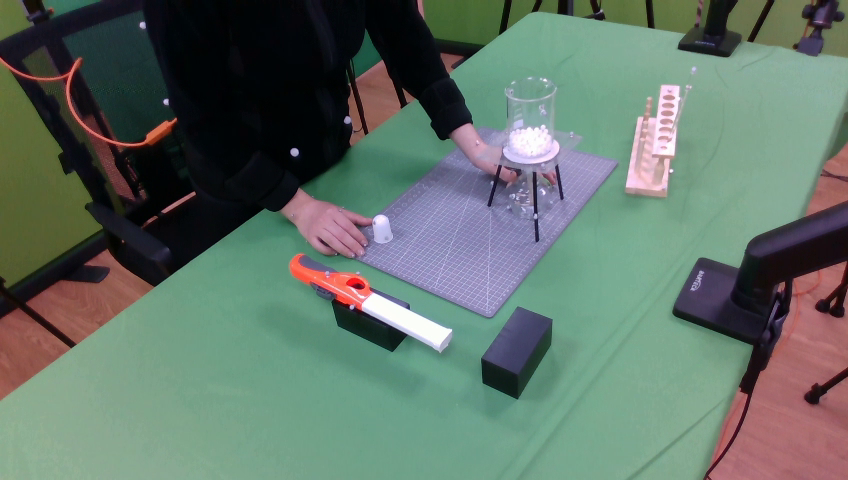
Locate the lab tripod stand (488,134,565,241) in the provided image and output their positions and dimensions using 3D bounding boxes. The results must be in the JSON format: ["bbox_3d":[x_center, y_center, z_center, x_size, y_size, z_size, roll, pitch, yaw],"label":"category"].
[{"bbox_3d":[0.168,-0.092,0.972,0.148,0.132,0.147,-5,41,5],"label":"lab tripod stand"}]

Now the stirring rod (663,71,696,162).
[{"bbox_3d":[0.411,-0.196,0.981,0.014,0.177,0.006,11,50,13],"label":"stirring rod"}]

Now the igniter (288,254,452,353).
[{"bbox_3d":[-0.083,0.080,0.818,0.274,0.025,0.057,23,46,27],"label":"igniter"}]

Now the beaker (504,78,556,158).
[{"bbox_3d":[0.160,-0.181,0.900,0.084,0.101,0.073,-33,46,-27],"label":"beaker"}]

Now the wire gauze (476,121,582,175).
[{"bbox_3d":[0.162,-0.141,0.929,0.120,0.011,0.125,19,49,32],"label":"wire gauze"}]

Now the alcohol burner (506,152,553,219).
[{"bbox_3d":[0.172,-0.093,0.988,0.078,0.119,0.077,-5,42,5],"label":"alcohol burner"}]

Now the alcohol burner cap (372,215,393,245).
[{"bbox_3d":[-0.070,-0.019,0.990,0.034,0.048,0.033,-4,42,4],"label":"alcohol burner cap"}]

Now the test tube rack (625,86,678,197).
[{"bbox_3d":[0.412,-0.184,1.088,0.066,0.085,0.242,9,43,18],"label":"test tube rack"}]
